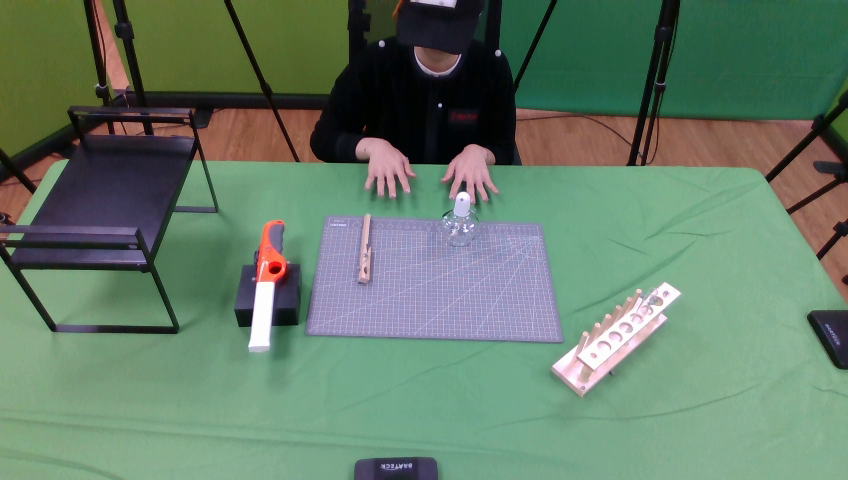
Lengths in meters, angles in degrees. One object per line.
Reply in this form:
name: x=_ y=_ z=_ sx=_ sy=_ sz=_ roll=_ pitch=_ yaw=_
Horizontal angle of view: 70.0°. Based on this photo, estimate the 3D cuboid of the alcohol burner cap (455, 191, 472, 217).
alcohol burner cap: x=0.076 y=-0.071 z=1.151 sx=0.034 sy=0.048 sz=0.033 roll=2 pitch=43 yaw=-2

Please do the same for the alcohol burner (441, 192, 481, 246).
alcohol burner: x=0.073 y=-0.046 z=1.176 sx=0.078 sy=0.119 sz=0.077 roll=2 pitch=44 yaw=-2

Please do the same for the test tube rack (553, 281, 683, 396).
test tube rack: x=0.329 y=0.153 z=1.022 sx=0.242 sy=0.085 sz=0.066 roll=-30 pitch=54 yaw=-28

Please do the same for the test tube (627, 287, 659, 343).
test tube: x=0.351 y=0.125 z=0.983 sx=0.017 sy=0.151 sz=0.017 roll=1 pitch=50 yaw=-1

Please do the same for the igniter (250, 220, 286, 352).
igniter: x=-0.269 y=0.068 z=1.041 sx=0.057 sy=0.025 sz=0.274 roll=0 pitch=48 yaw=-7

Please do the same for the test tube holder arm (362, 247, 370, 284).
test tube holder arm: x=-0.109 y=0.046 z=1.144 sx=0.010 sy=0.015 sz=0.087 roll=29 pitch=37 yaw=-28

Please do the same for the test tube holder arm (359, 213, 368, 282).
test tube holder arm: x=-0.116 y=0.011 z=1.172 sx=0.013 sy=0.015 sz=0.177 roll=28 pitch=37 yaw=-29
